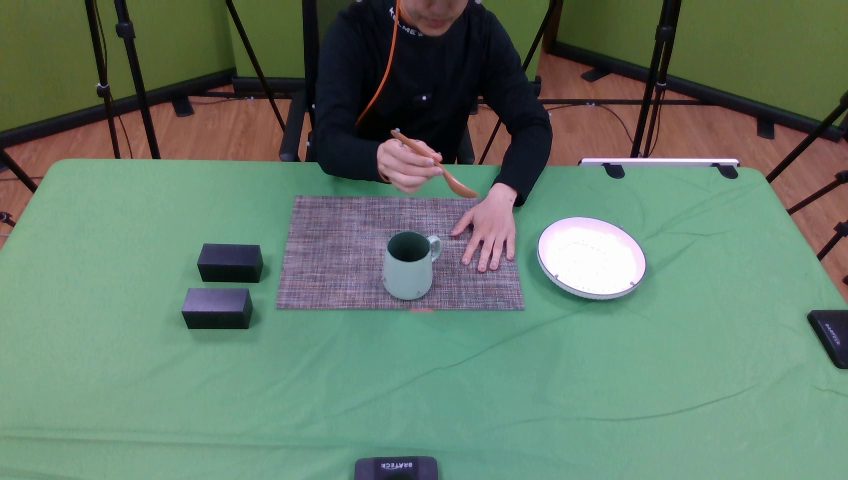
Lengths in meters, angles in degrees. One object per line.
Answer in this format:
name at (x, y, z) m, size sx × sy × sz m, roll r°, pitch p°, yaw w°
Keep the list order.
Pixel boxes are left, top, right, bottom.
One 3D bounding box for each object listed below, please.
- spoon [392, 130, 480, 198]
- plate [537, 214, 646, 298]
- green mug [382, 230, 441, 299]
spoon at (0.020, -0.116, 0.944) m, size 0.041 × 0.195 × 0.021 m, roll 8°, pitch 65°, yaw 53°
plate at (0.321, 0.035, 1.176) m, size 0.209 × 0.038 × 0.208 m, roll 2°, pitch 47°, yaw -2°
green mug at (-0.017, 0.037, 1.097) m, size 0.125 × 0.105 × 0.092 m, roll -34°, pitch 57°, yaw -31°
